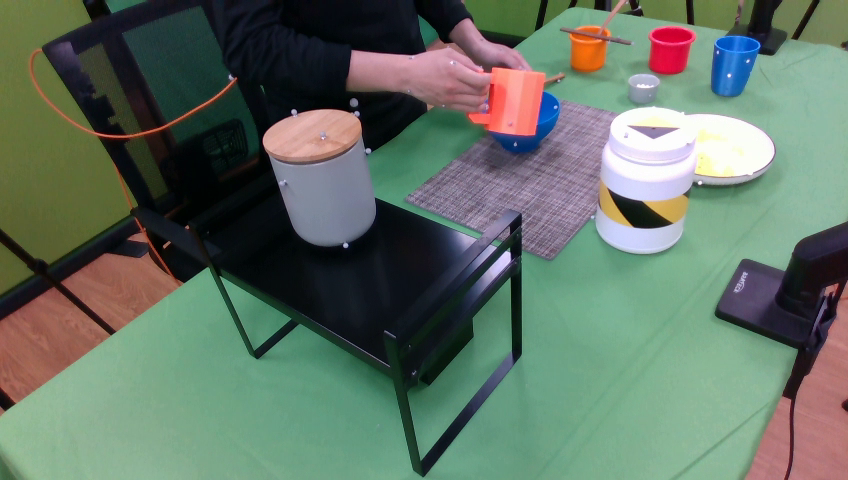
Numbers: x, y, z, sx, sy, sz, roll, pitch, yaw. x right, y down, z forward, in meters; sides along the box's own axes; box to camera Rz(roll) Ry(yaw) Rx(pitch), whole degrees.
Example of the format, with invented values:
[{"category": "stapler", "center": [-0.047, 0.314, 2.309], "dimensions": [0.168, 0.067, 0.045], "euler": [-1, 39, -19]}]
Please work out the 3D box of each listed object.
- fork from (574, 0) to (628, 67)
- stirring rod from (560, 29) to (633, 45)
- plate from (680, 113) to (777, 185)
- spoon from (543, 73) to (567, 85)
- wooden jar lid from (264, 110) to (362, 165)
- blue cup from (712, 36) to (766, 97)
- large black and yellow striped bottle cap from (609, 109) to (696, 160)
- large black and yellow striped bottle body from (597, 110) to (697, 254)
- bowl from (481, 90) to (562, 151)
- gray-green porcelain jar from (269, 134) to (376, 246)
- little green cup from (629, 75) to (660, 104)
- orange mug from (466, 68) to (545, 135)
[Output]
[{"category": "fork", "center": [0.413, -0.481, 1.377], "dimensions": [0.207, 0.019, 0.028], "euler": [-56, 43, 12]}, {"category": "stirring rod", "center": [0.381, -0.452, 1.344], "dimensions": [0.174, 0.006, 0.014], "euler": [25, 49, 33]}, {"category": "plate", "center": [0.506, -0.158, 1.073], "dimensions": [0.209, 0.038, 0.208], "euler": [-4, 40, 4]}, {"category": "spoon", "center": [0.250, -0.337, 1.332], "dimensions": [0.194, 0.022, 0.041], "euler": [-32, 31, -26]}, {"category": "wooden jar lid", "center": [-0.122, -0.112, 0.673], "dimensions": [0.108, 0.021, 0.108], "euler": [-4, 37, 4]}, {"category": "blue cup", "center": [0.627, -0.350, 1.227], "dimensions": [0.092, 0.100, 0.092], "euler": [-4, 39, 4]}, {"category": "large black and yellow striped bottle cap", "center": [0.319, -0.150, 0.849], "dimensions": [0.115, 0.019, 0.114], "euler": [-4, 39, 3]}, {"category": "large black and yellow striped bottle body", "center": [0.331, -0.086, 0.903], "dimensions": [0.131, 0.185, 0.130], "euler": [-5, 41, 4]}, {"category": "bowl", "center": [0.187, -0.223, 1.162], "dimensions": [0.151, 0.077, 0.150], "euler": [-5, 40, 4]}, {"category": "gray-green porcelain jar", "center": [-0.115, -0.064, 0.715], "dimensions": [0.106, 0.127, 0.105], "euler": [-4, 40, 4]}, {"category": "little green cup", "center": [0.457, -0.314, 1.260], "dimensions": [0.061, 0.039, 0.061], "euler": [-4, 40, 4]}, {"category": "orange mug", "center": [0.131, -0.227, 0.978], "dimensions": [0.127, 0.101, 0.083], "euler": [5, 16, -23]}]
